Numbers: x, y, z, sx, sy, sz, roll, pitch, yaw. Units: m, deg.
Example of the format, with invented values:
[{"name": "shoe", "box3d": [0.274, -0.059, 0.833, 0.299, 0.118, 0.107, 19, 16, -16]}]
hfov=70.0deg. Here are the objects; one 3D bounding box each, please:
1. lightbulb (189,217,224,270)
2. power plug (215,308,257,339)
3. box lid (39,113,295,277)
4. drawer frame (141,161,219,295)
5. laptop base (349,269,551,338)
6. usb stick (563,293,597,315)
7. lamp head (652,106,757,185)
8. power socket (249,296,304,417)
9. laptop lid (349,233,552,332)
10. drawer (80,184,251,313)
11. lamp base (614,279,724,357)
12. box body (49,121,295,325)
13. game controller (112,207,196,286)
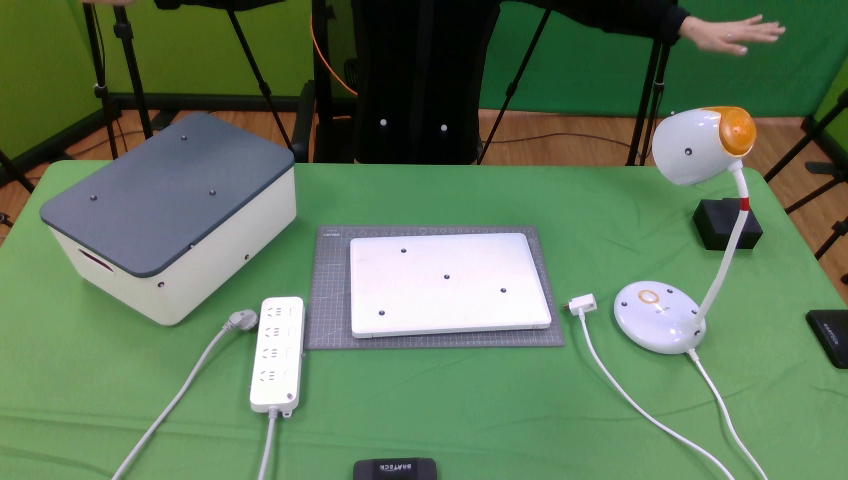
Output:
[{"name": "lightbulb", "box3d": [-0.406, 0.007, 1.114, 0.059, 0.060, 0.107, 8, 59, 3]}, {"name": "power plug", "box3d": [-0.317, 0.143, 1.024, 0.072, 0.053, 0.035, -32, 58, -9]}, {"name": "box lid", "box3d": [-0.435, -0.096, 1.056, 0.262, 0.015, 0.370, 25, 48, 18]}, {"name": "drawer frame", "box3d": [-0.435, -0.030, 1.068, 0.083, 0.214, 0.201, -11, 12, -31]}, {"name": "laptop base", "box3d": [0.039, 0.080, 1.125, 0.355, 0.023, 0.234, -2, 43, -6]}, {"name": "usb stick", "box3d": [0.280, 0.118, 1.093, 0.059, 0.021, 0.027, -18, 35, 25]}, {"name": "lamp head", "box3d": [0.410, -0.139, 0.869, 0.113, 0.122, 0.112, 0, 89, -19]}, {"name": "power socket", "box3d": [-0.239, 0.182, 0.996, 0.072, 0.033, 0.225, -2, 47, -5]}, {"name": "laptop lid", "box3d": [0.040, 0.070, 1.119, 0.357, 0.013, 0.240, -1, 44, -5]}, {"name": "drawer", "box3d": [-0.456, 0.009, 1.089, 0.194, 0.073, 0.211, 26, 44, 16]}, {"name": "lamp base", "box3d": [0.436, 0.090, 1.034, 0.161, 0.181, 0.178, -23, 55, -23]}, {"name": "box body", "box3d": [-0.437, -0.046, 1.110, 0.253, 0.161, 0.363, 24, 49, 19]}, {"name": "game controller", "box3d": [-0.465, 0.003, 1.042, 0.097, 0.052, 0.154, 7, 47, 0]}]
